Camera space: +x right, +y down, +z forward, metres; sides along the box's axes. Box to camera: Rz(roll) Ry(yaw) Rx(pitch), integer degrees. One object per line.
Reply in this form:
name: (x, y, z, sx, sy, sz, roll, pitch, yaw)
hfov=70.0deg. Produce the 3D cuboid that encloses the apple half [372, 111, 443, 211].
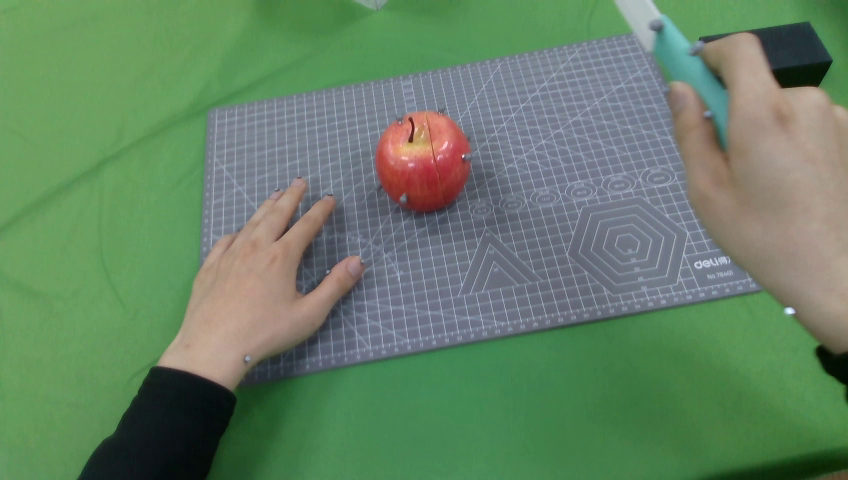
apple half: (-0.016, -0.062, 0.516, 0.053, 0.075, 0.080, -13, 62, 4)

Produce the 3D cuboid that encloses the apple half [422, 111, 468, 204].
apple half: (0.021, -0.071, 0.515, 0.033, 0.082, 0.080, -13, 58, 4)

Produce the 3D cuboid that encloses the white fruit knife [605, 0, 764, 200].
white fruit knife: (0.133, -0.116, 0.352, 0.016, 0.027, 0.206, -25, 78, -22)
